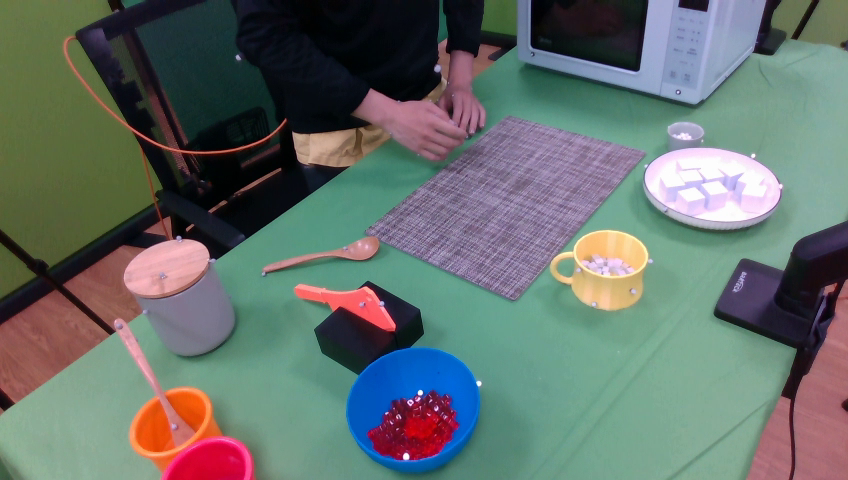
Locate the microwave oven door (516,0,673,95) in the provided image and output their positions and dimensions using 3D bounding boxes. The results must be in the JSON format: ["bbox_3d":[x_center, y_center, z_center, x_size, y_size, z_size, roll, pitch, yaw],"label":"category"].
[{"bbox_3d":[0.344,-0.458,1.256,0.353,0.245,0.039,26,51,33],"label":"microwave oven door"}]

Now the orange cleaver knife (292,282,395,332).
[{"bbox_3d":[-0.116,0.091,0.835,0.209,0.077,0.012,2,32,48],"label":"orange cleaver knife"}]

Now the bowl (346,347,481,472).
[{"bbox_3d":[-0.008,0.205,0.691,0.151,0.077,0.150,-4,40,4],"label":"bowl"}]

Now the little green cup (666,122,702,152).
[{"bbox_3d":[0.471,-0.184,1.102,0.061,0.039,0.061,-5,41,5],"label":"little green cup"}]

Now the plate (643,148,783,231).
[{"bbox_3d":[0.464,-0.080,0.986,0.207,0.039,0.206,-4,40,4],"label":"plate"}]

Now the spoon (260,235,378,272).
[{"bbox_3d":[-0.167,0.024,0.966,0.194,0.022,0.041,-10,58,-3],"label":"spoon"}]

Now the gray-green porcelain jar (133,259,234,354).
[{"bbox_3d":[-0.328,0.087,0.836,0.106,0.127,0.105,-4,41,4],"label":"gray-green porcelain jar"}]

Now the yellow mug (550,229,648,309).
[{"bbox_3d":[0.245,0.040,0.856,0.130,0.064,0.099,1,41,11],"label":"yellow mug"}]

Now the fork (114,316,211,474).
[{"bbox_3d":[-0.309,0.179,0.708,0.028,0.018,0.207,-30,89,-24],"label":"fork"}]

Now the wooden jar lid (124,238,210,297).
[{"bbox_3d":[-0.335,0.039,0.794,0.108,0.021,0.108,-2,40,2],"label":"wooden jar lid"}]

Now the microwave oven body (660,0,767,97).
[{"bbox_3d":[0.473,-0.516,1.313,0.438,0.261,0.327,26,51,34],"label":"microwave oven body"}]

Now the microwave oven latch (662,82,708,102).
[{"bbox_3d":[0.517,-0.298,1.202,0.078,0.029,0.030,27,52,34],"label":"microwave oven latch"}]
